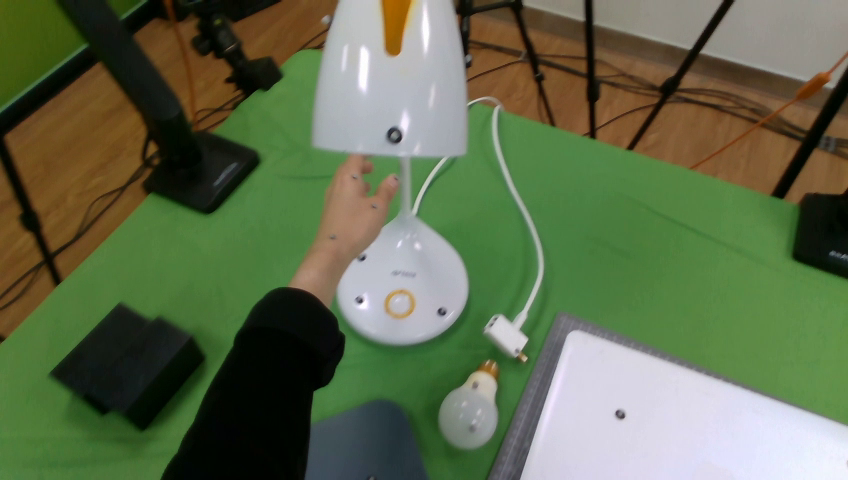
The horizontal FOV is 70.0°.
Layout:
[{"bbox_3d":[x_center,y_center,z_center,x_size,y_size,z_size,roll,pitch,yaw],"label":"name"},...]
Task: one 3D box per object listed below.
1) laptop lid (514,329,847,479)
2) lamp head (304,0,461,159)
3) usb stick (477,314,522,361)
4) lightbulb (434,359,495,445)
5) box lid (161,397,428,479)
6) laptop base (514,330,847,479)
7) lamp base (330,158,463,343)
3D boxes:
[{"bbox_3d":[0.275,0.240,0.586,0.355,0.013,0.240,20,58,14],"label":"laptop lid"},{"bbox_3d":[-0.026,-0.119,0.420,0.112,0.112,0.123,3,98,0],"label":"lamp head"},{"bbox_3d":[0.090,0.112,0.681,0.059,0.021,0.027,46,65,-9],"label":"usb stick"},{"bbox_3d":[0.049,0.166,0.637,0.059,0.060,0.107,19,40,14],"label":"lightbulb"},{"bbox_3d":[-0.089,0.337,0.533,0.264,0.015,0.367,-18,56,-12],"label":"box lid"},{"bbox_3d":[0.276,0.245,0.597,0.353,0.023,0.234,19,59,13],"label":"laptop base"},{"bbox_3d":[-0.034,-0.003,0.679,0.161,0.182,0.177,-3,51,-2],"label":"lamp base"}]
